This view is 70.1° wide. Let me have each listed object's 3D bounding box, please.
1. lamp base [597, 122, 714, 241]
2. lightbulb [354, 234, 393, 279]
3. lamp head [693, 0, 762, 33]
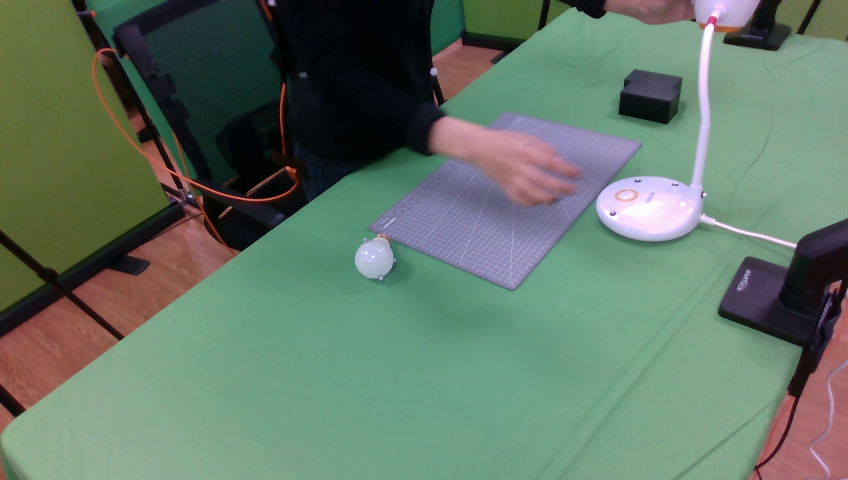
[{"bbox_3d":[0.363,-0.109,0.921,0.178,0.181,0.160,13,45,21],"label":"lamp base"},{"bbox_3d":[-0.074,0.020,0.952,0.059,0.060,0.107,-2,25,9],"label":"lightbulb"},{"bbox_3d":[0.438,-0.362,0.870,0.112,0.123,0.112,2,28,0],"label":"lamp head"}]
